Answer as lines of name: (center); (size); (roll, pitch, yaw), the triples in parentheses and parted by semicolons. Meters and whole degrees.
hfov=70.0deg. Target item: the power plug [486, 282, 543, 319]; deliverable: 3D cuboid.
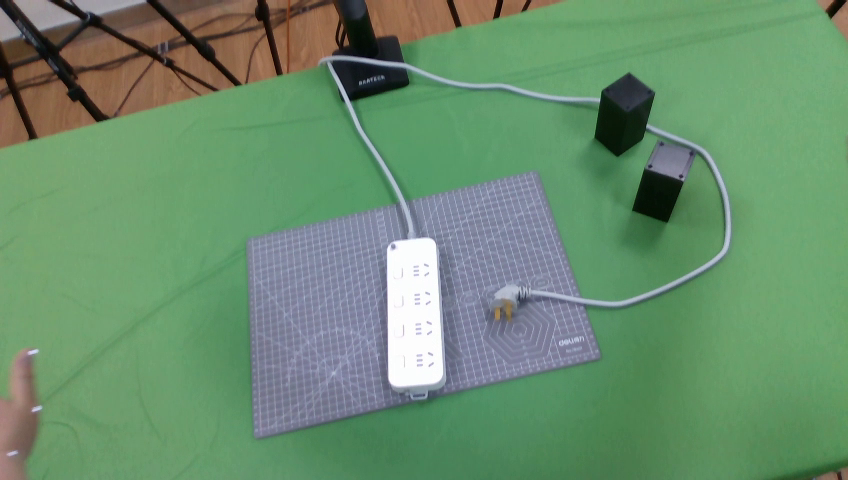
power plug: (0.116, 0.077, 0.786); (0.072, 0.035, 0.052); (-9, 47, 17)

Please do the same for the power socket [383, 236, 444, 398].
power socket: (-0.016, 0.093, 0.804); (0.072, 0.033, 0.224); (-6, 60, 5)
